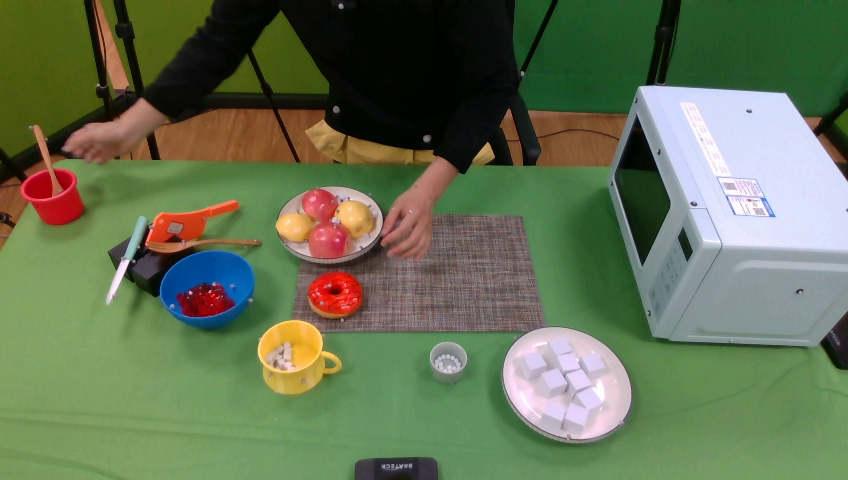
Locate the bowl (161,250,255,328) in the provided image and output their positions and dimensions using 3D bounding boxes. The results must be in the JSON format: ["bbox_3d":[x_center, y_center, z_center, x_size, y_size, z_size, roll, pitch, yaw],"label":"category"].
[{"bbox_3d":[-0.362,0.097,1.040,0.151,0.077,0.150,2,45,-2],"label":"bowl"}]

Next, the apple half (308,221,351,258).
[{"bbox_3d":[-0.180,-0.005,1.150,0.074,0.053,0.080,14,44,8],"label":"apple half"}]

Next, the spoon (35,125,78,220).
[{"bbox_3d":[-0.725,-0.133,1.188,0.041,0.021,0.194,-18,95,-18],"label":"spoon"}]

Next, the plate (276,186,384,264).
[{"bbox_3d":[-0.184,-0.027,1.195,0.209,0.038,0.208,2,46,-2],"label":"plate"}]

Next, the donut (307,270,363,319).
[{"bbox_3d":[-0.157,0.097,1.072,0.099,0.048,0.098,4,46,-4],"label":"donut"}]

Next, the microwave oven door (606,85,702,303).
[{"bbox_3d":[0.423,-0.094,1.140,0.039,0.245,0.353,2,46,-1],"label":"microwave oven door"}]

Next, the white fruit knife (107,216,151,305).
[{"bbox_3d":[-0.518,0.032,1.066,0.027,0.016,0.206,-19,45,19],"label":"white fruit knife"}]

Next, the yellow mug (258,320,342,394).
[{"bbox_3d":[-0.196,0.189,0.971,0.131,0.064,0.099,9,46,4],"label":"yellow mug"}]

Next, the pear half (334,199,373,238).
[{"bbox_3d":[-0.147,-0.059,1.210,0.076,0.056,0.109,-17,45,-26],"label":"pear half"}]

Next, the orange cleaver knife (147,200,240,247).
[{"bbox_3d":[-0.435,-0.033,1.157,0.012,0.077,0.211,31,26,18],"label":"orange cleaver knife"}]

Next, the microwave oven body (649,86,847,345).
[{"bbox_3d":[0.568,-0.053,1.118,0.326,0.261,0.439,2,45,-1],"label":"microwave oven body"}]

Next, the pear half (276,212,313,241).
[{"bbox_3d":[-0.244,-0.035,1.178,0.070,0.031,0.088,40,42,1],"label":"pear half"}]

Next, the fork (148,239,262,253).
[{"bbox_3d":[-0.398,0.008,1.117,0.208,0.019,0.028,-5,34,-37],"label":"fork"}]

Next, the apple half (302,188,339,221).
[{"bbox_3d":[-0.204,-0.076,1.216,0.081,0.033,0.081,18,46,-19],"label":"apple half"}]

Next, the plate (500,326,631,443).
[{"bbox_3d":[0.224,0.234,0.978,0.208,0.039,0.206,2,46,-2],"label":"plate"}]

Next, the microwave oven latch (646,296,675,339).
[{"bbox_3d":[0.412,0.134,1.061,0.030,0.029,0.078,4,45,1],"label":"microwave oven latch"}]

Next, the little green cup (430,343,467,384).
[{"bbox_3d":[0.039,0.203,0.993,0.061,0.039,0.061,2,46,-2],"label":"little green cup"}]
